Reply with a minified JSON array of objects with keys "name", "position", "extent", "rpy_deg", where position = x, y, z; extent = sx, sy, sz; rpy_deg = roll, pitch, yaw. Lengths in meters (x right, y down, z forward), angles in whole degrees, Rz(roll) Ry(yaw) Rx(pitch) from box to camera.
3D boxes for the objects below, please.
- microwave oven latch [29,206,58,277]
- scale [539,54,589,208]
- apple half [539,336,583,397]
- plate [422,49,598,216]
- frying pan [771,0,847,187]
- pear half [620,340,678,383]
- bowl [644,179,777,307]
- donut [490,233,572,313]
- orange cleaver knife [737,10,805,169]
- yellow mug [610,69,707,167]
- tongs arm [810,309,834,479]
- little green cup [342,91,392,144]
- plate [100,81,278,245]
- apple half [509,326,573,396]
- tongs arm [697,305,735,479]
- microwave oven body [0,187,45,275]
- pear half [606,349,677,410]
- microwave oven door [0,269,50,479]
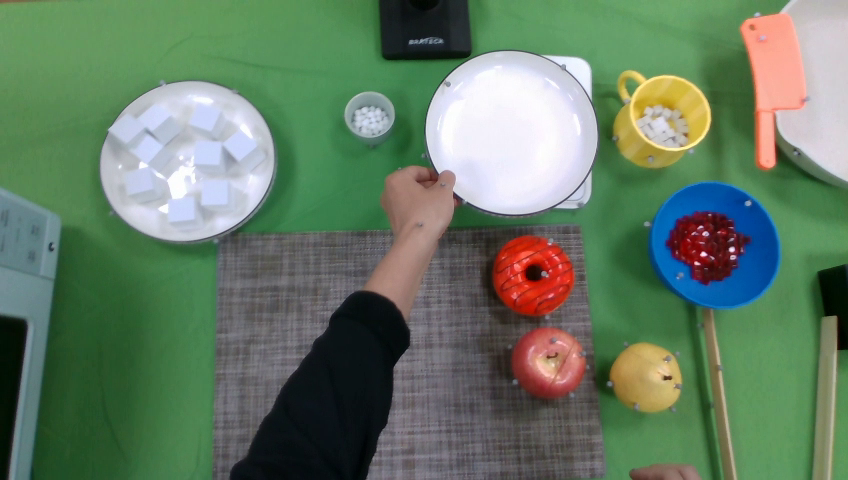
[{"name":"microwave oven latch","position":[-0.445,0.002,0.698],"extent":[0.030,0.029,0.079],"rpy_deg":[3,79,-2]},{"name":"scale","position":[0.138,-0.143,0.777],"extent":[0.149,0.031,0.200],"rpy_deg":[2,79,-2]},{"name":"apple half","position":[0.160,0.150,0.691],"extent":[0.032,0.081,0.081],"rpy_deg":[30,78,7]},{"name":"plate","position":[0.102,-0.127,0.728],"extent":[0.209,0.038,0.208],"rpy_deg":[1,79,-2]},{"name":"frying pan","position":[0.613,-0.112,0.754],"extent":[0.307,0.103,0.484],"rpy_deg":[-29,73,-7]},{"name":"pear half","position":[0.263,0.135,0.695],"extent":[0.070,0.088,0.031],"rpy_deg":[28,79,6]},{"name":"bowl","position":[0.329,0.009,0.730],"extent":[0.151,0.077,0.150],"rpy_deg":[0,79,-2]},{"name":"donut","position":[0.127,0.040,0.728],"extent":[0.099,0.048,0.098],"rpy_deg":[0,77,0]},{"name":"orange cleaver knife","position":[0.428,-0.188,0.744],"extent":[0.077,0.012,0.210],"rpy_deg":[3,79,1]},{"name":"yellow mug","position":[0.286,-0.163,0.770],"extent":[0.100,0.064,0.130],"rpy_deg":[-34,80,-8]},{"name":"tongs arm","position":[0.454,0.270,0.709],"extent":[0.028,0.028,0.386],"rpy_deg":[14,79,-8]},{"name":"little green cup","position":[-0.070,-0.152,0.766],"extent":[0.061,0.039,0.061],"rpy_deg":[0,77,-2]},{"name":"plate","position":[-0.283,-0.093,0.744],"extent":[0.208,0.039,0.206],"rpy_deg":[1,78,-2]},{"name":"apple half","position":[0.126,0.132,0.694],"extent":[0.053,0.075,0.080],"rpy_deg":[31,81,7]},{"name":"tongs arm","position":[0.368,0.265,0.702],"extent":[0.051,0.026,0.383],"rpy_deg":[-2,80,-8]},{"name":"microwave oven body","position":[-0.591,0.152,0.562],"extent":[0.326,0.261,0.439],"rpy_deg":[1,79,-3]},{"name":"pear half","position":[0.244,0.161,0.678],"extent":[0.076,0.110,0.056],"rpy_deg":[29,78,8]},{"name":"microwave oven door","position":[-0.445,0.194,0.554],"extent":[0.039,0.244,0.354],"rpy_deg":[0,78,-2]}]
